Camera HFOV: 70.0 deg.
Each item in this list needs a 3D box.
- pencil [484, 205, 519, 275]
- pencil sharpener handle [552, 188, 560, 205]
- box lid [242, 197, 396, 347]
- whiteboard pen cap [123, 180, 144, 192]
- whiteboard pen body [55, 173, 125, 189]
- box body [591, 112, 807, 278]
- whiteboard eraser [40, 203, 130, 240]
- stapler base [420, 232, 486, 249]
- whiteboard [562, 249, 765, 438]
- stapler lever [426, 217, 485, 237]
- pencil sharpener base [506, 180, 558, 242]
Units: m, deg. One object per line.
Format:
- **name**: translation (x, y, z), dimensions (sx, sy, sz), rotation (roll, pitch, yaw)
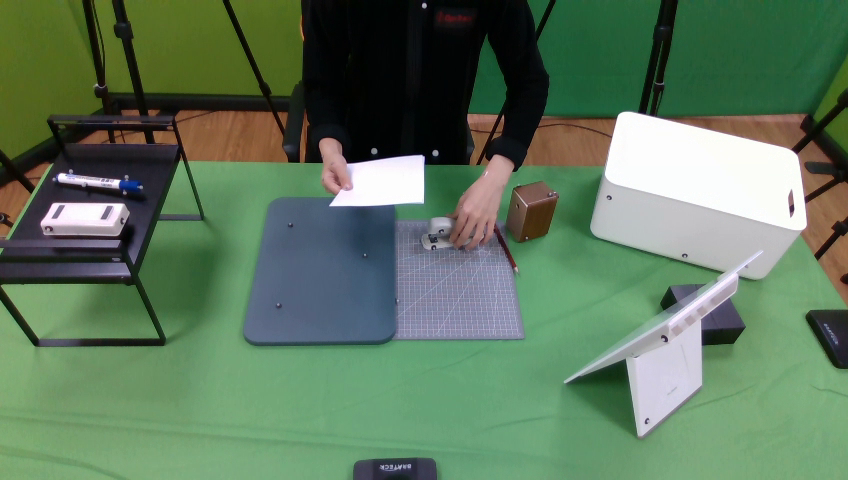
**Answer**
- **pencil**: translation (0.155, -0.002, 1.218), dimensions (0.012, 0.012, 0.192), rotation (-9, 48, -13)
- **pencil sharpener handle**: translation (0.261, -0.084, 1.221), dimensions (0.031, 0.068, 0.036), rotation (-16, 66, -19)
- **box lid**: translation (-0.186, 0.046, 1.147), dimensions (0.263, 0.015, 0.369), rotation (0, 46, -3)
- **whiteboard pen cap**: translation (-0.479, -0.089, 0.993), dimensions (0.033, 0.018, 0.018), rotation (7, 46, 14)
- **whiteboard pen body**: translation (-0.539, -0.095, 0.998), dimensions (0.141, 0.017, 0.017), rotation (6, 46, 6)
- **box body**: translation (0.540, -0.092, 1.229), dimensions (0.363, 0.161, 0.253), rotation (16, 47, 11)
- **whiteboard eraser**: translation (-0.513, -0.028, 0.922), dimensions (0.113, 0.042, 0.055), rotation (1, 48, -3)
- **stapler base**: translation (0.059, -0.011, 1.208), dimensions (0.131, 0.024, 0.041), rotation (-7, 50, -13)
- **whiteboard**: translation (0.386, 0.175, 0.905), dimensions (0.217, 0.306, 0.143), rotation (-26, 72, -26)
- **stapler lever**: translation (0.062, -0.029, 1.190), dimensions (0.118, 0.040, 0.026), rotation (-7, 50, -14)
- **pencil sharpener base**: translation (0.216, -0.059, 1.211), dimensions (0.077, 0.107, 0.061), rotation (-16, 49, -19)
